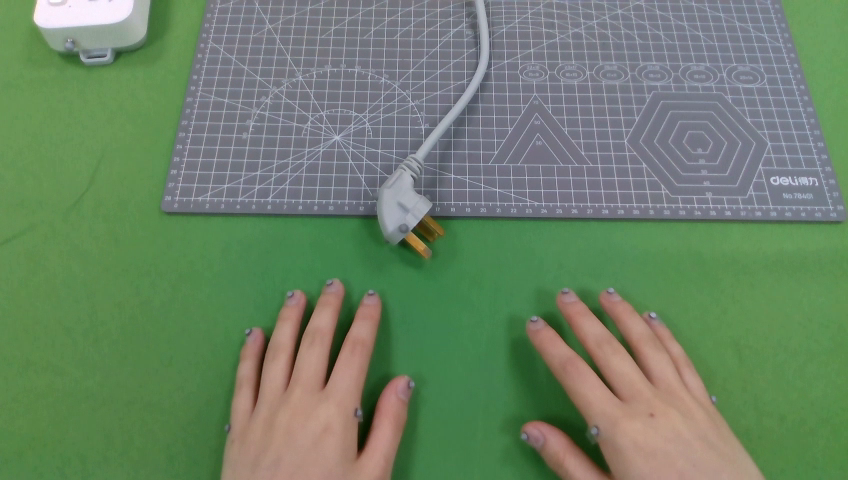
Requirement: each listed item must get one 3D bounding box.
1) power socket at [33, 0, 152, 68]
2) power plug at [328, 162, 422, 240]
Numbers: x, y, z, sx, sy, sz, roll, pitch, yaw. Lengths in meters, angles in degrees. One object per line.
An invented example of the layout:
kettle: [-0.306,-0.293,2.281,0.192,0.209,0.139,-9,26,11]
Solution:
power socket: [-0.251,-0.235,0.478,0.072,0.033,0.225,-4,65,-4]
power plug: [-0.029,-0.031,0.369,0.035,0.073,0.052,-37,28,-6]
